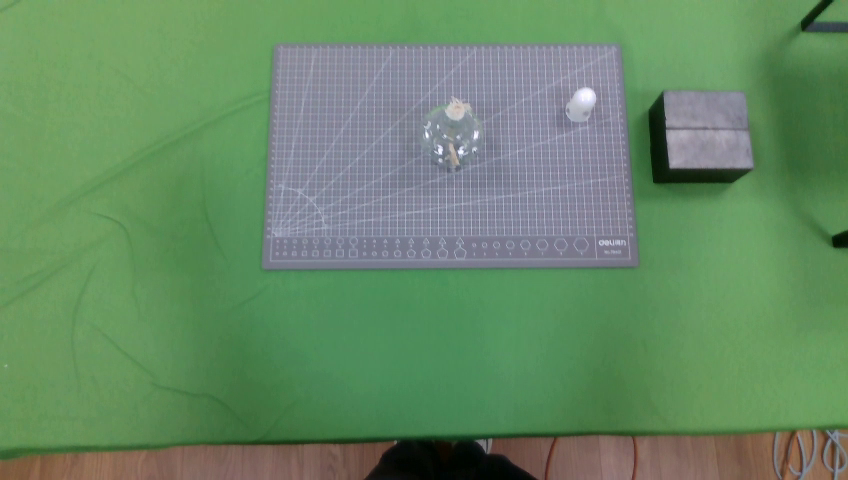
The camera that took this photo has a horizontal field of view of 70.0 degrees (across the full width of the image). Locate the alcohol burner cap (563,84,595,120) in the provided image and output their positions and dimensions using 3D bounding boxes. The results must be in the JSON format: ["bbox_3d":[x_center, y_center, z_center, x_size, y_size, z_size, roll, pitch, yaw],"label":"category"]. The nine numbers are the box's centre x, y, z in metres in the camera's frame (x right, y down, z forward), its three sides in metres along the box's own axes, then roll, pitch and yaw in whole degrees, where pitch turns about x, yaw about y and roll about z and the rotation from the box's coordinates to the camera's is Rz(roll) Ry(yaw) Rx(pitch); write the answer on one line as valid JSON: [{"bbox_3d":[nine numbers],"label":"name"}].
[{"bbox_3d":[0.194,-0.173,0.750,0.034,0.048,0.033,0,76,-1],"label":"alcohol burner cap"}]

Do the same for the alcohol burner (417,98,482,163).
[{"bbox_3d":[0.031,-0.134,0.701,0.078,0.119,0.077,1,77,-3],"label":"alcohol burner"}]
